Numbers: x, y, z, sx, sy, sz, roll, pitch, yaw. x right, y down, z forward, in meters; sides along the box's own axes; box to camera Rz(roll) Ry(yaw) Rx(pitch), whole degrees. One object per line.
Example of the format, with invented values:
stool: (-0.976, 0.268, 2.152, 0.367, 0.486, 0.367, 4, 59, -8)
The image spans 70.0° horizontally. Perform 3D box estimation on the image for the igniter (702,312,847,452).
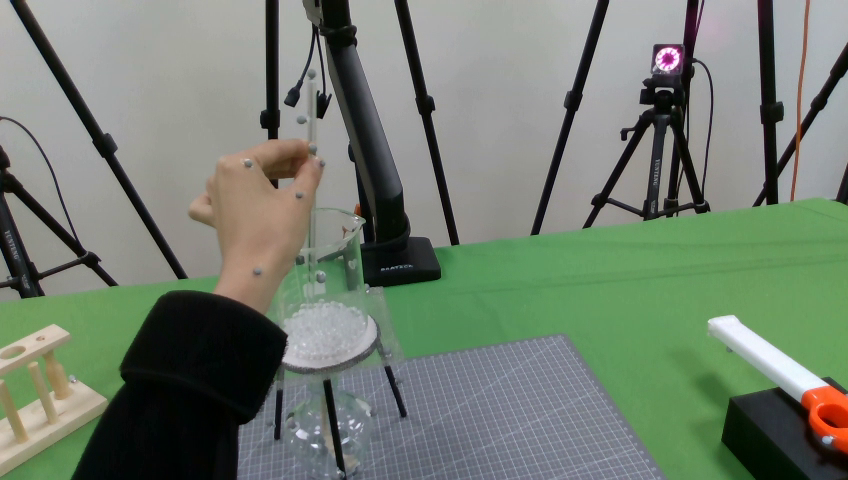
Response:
igniter: (0.328, 0.133, 0.499, 0.057, 0.025, 0.274, -9, 23, -10)

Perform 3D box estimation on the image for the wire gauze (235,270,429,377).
wire gauze: (-0.077, 0.063, 0.484, 0.125, 0.011, 0.120, -13, 26, -29)

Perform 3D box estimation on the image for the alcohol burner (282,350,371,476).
alcohol burner: (-0.086, 0.145, 0.527, 0.078, 0.120, 0.077, -1, 26, 1)

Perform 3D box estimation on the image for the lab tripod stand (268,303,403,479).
lab tripod stand: (-0.077, 0.135, 0.524, 0.148, 0.132, 0.147, -1, 28, 1)

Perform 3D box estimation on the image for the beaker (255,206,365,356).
beaker: (-0.082, 0.032, 0.474, 0.084, 0.101, 0.073, -18, 32, -28)

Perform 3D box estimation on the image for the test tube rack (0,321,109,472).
test tube rack: (-0.427, 0.175, 0.544, 0.066, 0.086, 0.242, 15, 32, 32)

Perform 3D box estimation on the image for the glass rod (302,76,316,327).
glass rod: (-0.090, -0.024, 0.468, 0.008, 0.200, 0.008, 5, 18, -1)
